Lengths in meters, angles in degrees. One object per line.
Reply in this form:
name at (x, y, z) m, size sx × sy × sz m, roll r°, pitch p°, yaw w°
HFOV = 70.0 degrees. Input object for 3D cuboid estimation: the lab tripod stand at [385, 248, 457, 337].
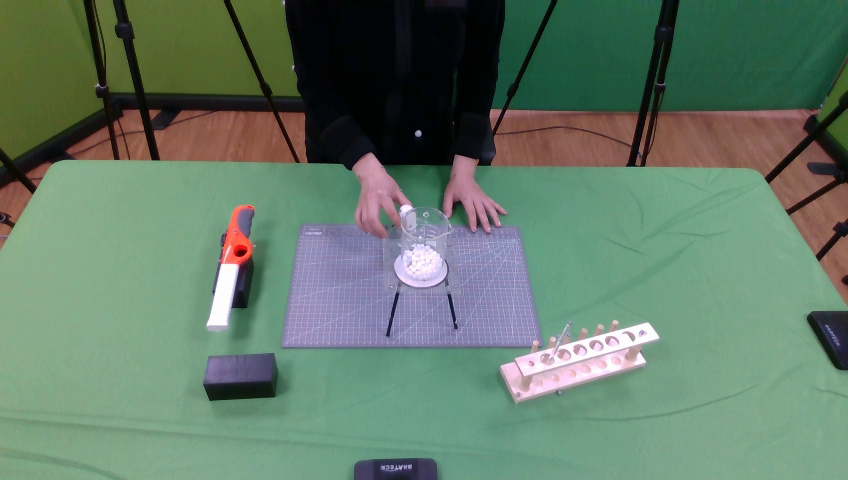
lab tripod stand at (-0.010, 0.087, 1.032) m, size 0.148 × 0.132 × 0.147 m, roll 1°, pitch 45°, yaw -1°

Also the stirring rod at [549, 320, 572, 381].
stirring rod at (0.202, 0.167, 0.901) m, size 0.006 × 0.177 × 0.014 m, roll -17°, pitch 55°, yaw -11°

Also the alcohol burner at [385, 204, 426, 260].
alcohol burner at (-0.035, -0.020, 1.147) m, size 0.078 × 0.120 × 0.077 m, roll 1°, pitch 46°, yaw -1°

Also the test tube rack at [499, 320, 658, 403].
test tube rack at (0.252, 0.187, 0.994) m, size 0.243 × 0.085 × 0.066 m, roll -12°, pitch 48°, yaw -15°

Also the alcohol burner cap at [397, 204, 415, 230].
alcohol burner cap at (-0.034, -0.044, 1.121) m, size 0.034 × 0.048 × 0.033 m, roll -1°, pitch 44°, yaw 1°

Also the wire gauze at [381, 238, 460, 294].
wire gauze at (-0.007, 0.042, 0.985) m, size 0.125 × 0.011 × 0.120 m, roll -1°, pitch 43°, yaw -2°

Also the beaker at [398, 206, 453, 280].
beaker at (0.000, 0.008, 0.950) m, size 0.084 × 0.101 × 0.073 m, roll 10°, pitch 45°, yaw 6°

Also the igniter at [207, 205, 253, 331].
igniter at (-0.339, 0.038, 1.066) m, size 0.057 × 0.025 × 0.274 m, roll 2°, pitch 48°, yaw -6°
